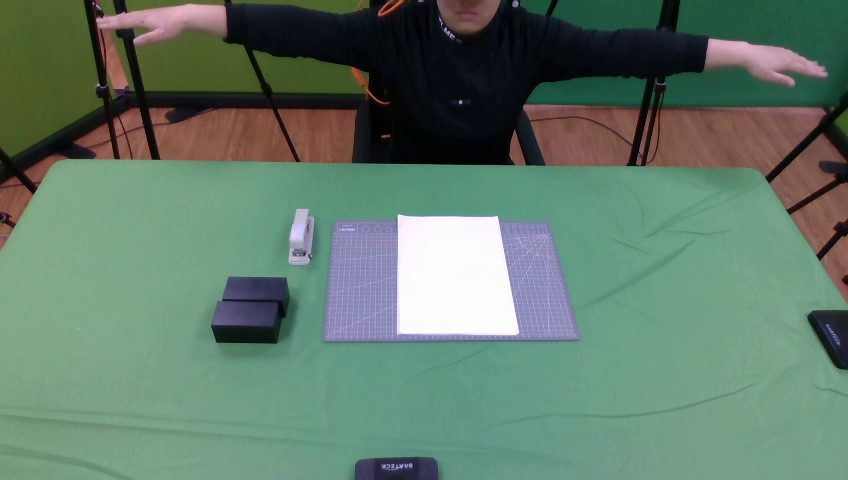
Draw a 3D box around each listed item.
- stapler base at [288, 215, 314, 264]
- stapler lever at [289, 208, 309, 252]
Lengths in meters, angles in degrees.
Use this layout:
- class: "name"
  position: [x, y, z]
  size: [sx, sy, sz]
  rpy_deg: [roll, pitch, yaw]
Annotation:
- class: "stapler base"
  position: [-0.241, -0.007, 1.184]
  size: [0.041, 0.024, 0.129]
  rpy_deg: [1, 44, -6]
- class: "stapler lever"
  position: [-0.240, -0.026, 1.168]
  size: [0.027, 0.040, 0.117]
  rpy_deg: [1, 44, -6]
